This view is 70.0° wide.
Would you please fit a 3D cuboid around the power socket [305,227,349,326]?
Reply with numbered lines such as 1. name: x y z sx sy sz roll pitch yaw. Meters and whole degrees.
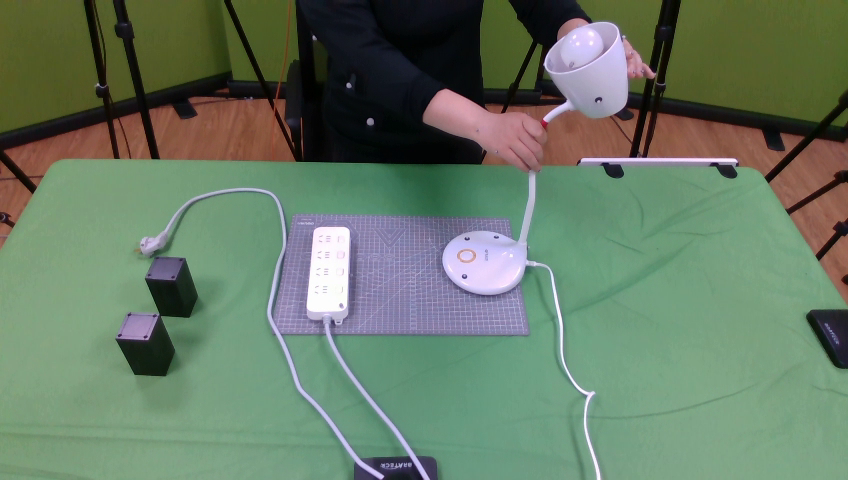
1. power socket: -0.177 0.058 1.115 0.072 0.033 0.225 -1 46 -4

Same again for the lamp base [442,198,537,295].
1. lamp base: 0.131 -0.012 1.105 0.179 0.181 0.159 0 46 -9

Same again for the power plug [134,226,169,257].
1. power plug: -0.516 0.006 1.152 0.052 0.035 0.072 -6 25 5

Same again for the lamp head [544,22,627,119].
1. lamp head: 0.247 -0.239 0.898 0.112 0.123 0.111 -20 40 18

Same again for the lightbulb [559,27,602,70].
1. lightbulb: 0.239 -0.260 0.886 0.059 0.108 0.059 -28 31 19
